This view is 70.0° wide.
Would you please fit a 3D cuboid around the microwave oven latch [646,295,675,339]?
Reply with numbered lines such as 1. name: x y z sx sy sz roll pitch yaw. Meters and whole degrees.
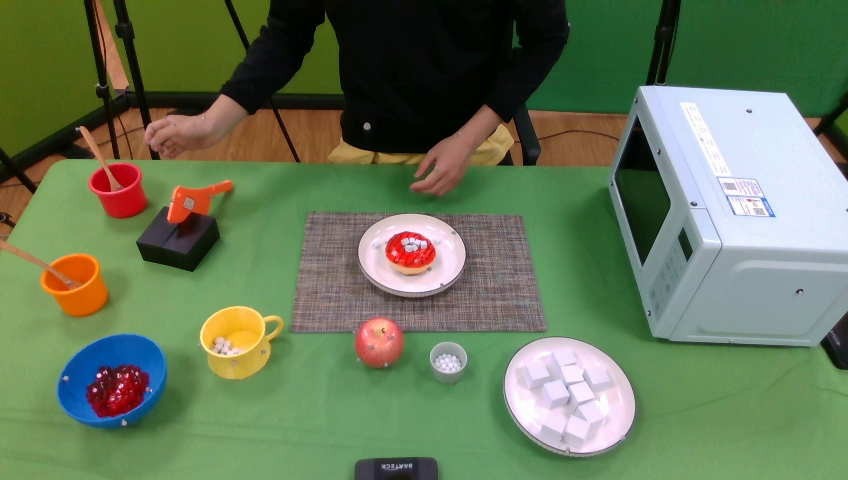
1. microwave oven latch: 0.412 0.134 1.061 0.030 0.029 0.078 4 45 1

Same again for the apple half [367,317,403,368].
1. apple half: -0.061 0.167 0.998 0.053 0.075 0.080 -11 44 -20

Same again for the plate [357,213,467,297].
1. plate: -0.023 0.032 1.150 0.209 0.038 0.208 2 46 -2

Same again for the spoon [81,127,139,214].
1. spoon: -0.625 -0.139 1.202 0.041 0.021 0.194 -30 98 -30

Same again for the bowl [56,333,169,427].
1. bowl: -0.456 0.223 0.911 0.151 0.077 0.150 3 46 -2

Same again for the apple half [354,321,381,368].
1. apple half: -0.097 0.176 0.985 0.033 0.081 0.080 -12 48 -20

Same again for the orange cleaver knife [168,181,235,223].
1. orange cleaver knife: -0.436 -0.078 1.196 0.012 0.077 0.211 15 15 10

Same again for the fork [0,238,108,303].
1. fork: -0.633 0.048 1.017 0.208 0.018 0.028 40 41 -27

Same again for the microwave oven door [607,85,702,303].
1. microwave oven door: 0.423 -0.094 1.140 0.039 0.245 0.353 2 46 -1

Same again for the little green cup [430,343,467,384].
1. little green cup: 0.039 0.203 0.993 0.061 0.039 0.061 2 46 -2

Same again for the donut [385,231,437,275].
1. donut: -0.025 0.024 1.142 0.099 0.048 0.098 3 44 -3

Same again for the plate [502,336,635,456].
1. plate: 0.225 0.248 0.963 0.208 0.039 0.206 2 46 -2

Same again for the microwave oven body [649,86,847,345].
1. microwave oven body: 0.568 -0.053 1.118 0.326 0.261 0.439 2 45 -1

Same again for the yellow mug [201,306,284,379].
1. yellow mug: -0.291 0.160 0.993 0.131 0.064 0.099 -23 51 -25
